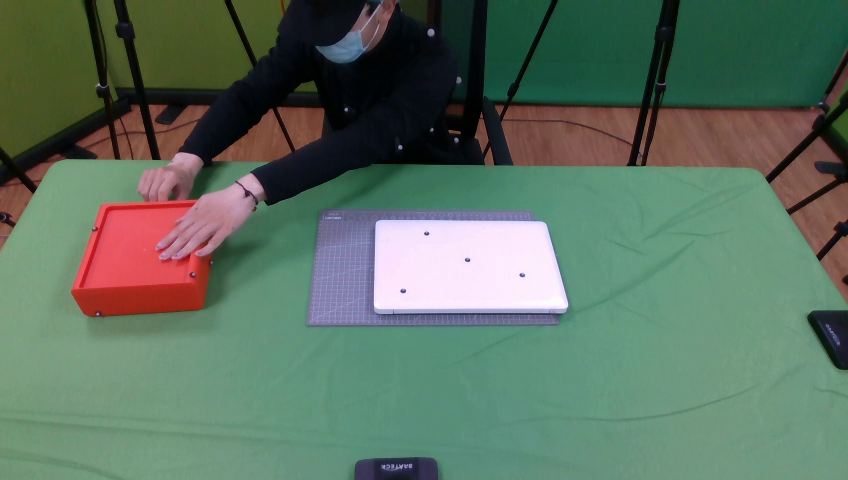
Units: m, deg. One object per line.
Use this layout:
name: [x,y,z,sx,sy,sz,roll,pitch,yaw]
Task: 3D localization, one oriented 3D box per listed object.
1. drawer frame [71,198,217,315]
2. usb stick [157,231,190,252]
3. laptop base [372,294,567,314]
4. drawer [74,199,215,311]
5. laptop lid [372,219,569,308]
drawer frame: [-0.493,0.024,1.095,0.202,0.083,0.212,-3,47,-8]
usb stick: [-0.475,0.001,1.144,0.059,0.027,0.021,13,41,8]
laptop base: [0.080,0.049,1.159,0.355,0.023,0.234,0,43,-4]
drawer: [-0.494,0.023,1.096,0.195,0.073,0.210,-2,47,-8]
laptop lid: [0.080,0.039,1.152,0.357,0.013,0.240,1,44,-3]
